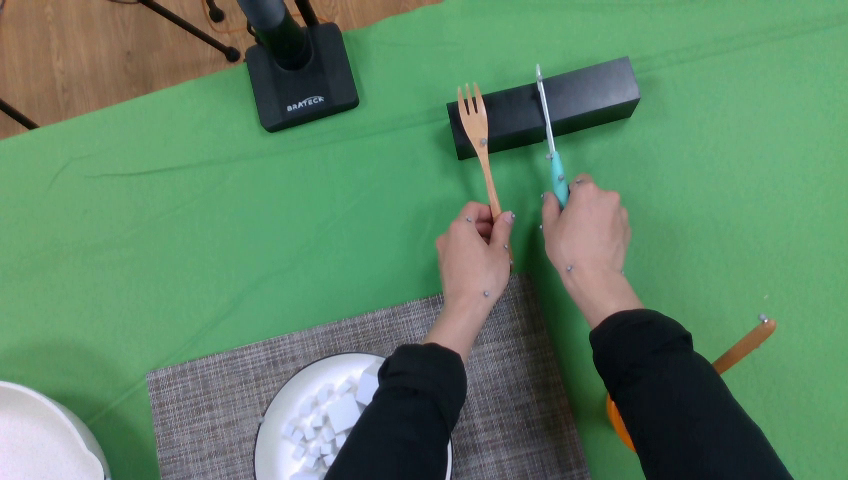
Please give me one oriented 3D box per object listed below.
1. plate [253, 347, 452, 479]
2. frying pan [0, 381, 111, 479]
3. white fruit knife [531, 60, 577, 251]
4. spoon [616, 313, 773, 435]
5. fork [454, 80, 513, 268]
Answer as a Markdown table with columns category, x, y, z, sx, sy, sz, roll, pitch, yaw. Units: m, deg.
| category | x | y | z | sx | sy | sz | roll | pitch | yaw |
| --- | --- | --- | --- | --- | --- | --- | --- | --- | --- |
| plate | -0.073 | 0.217 | 0.632 | 0.207 | 0.039 | 0.206 | -1 | 79 | 6 |
| frying pan | -0.428 | 0.386 | 0.609 | 0.307 | 0.103 | 0.484 | -22 | 69 | 2 |
| white fruit knife | 0.136 | -0.089 | 0.646 | 0.016 | 0.027 | 0.207 | -13 | 93 | 2 |
| spoon | 0.247 | 0.128 | 0.560 | 0.041 | 0.194 | 0.021 | 40 | 42 | 8 |
| fork | 0.068 | -0.068 | 0.652 | 0.028 | 0.018 | 0.207 | -12 | 97 | 16 |
